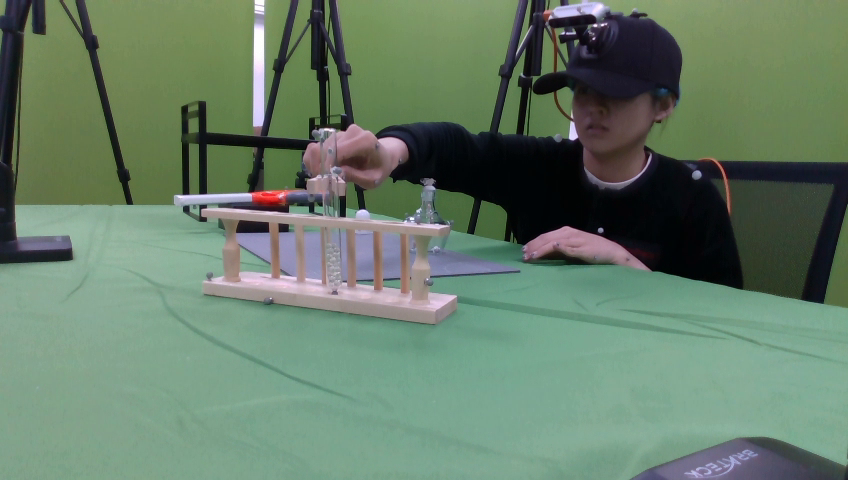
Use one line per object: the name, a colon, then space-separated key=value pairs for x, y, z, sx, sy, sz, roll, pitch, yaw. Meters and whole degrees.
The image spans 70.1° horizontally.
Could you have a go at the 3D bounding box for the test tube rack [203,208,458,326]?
test tube rack: x=-0.090 y=0.019 z=0.579 sx=0.242 sy=0.085 sz=0.067 roll=5 pitch=7 yaw=19

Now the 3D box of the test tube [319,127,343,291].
test tube: x=-0.084 y=-0.027 z=0.552 sx=0.017 sy=0.150 sz=0.017 roll=-1 pitch=8 yaw=0

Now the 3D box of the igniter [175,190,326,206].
igniter: x=-0.315 y=-0.079 z=1.128 sx=0.278 sy=0.025 sz=0.057 roll=-5 pitch=13 yaw=-34

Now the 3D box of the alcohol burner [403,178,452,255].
alcohol burner: x=0.005 y=-0.036 z=0.923 sx=0.078 sy=0.119 sz=0.078 roll=5 pitch=7 yaw=0

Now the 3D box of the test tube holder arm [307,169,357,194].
test tube holder arm: x=-0.094 y=-0.065 z=0.644 sx=0.013 sy=0.015 sz=0.178 roll=4 pitch=10 yaw=4

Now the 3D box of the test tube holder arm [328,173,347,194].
test tube holder arm: x=-0.087 y=-0.057 z=0.601 sx=0.010 sy=0.015 sz=0.087 roll=-1 pitch=11 yaw=-15

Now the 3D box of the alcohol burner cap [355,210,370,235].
alcohol burner cap: x=-0.116 y=-0.033 z=1.136 sx=0.034 sy=0.048 sz=0.034 roll=2 pitch=7 yaw=0
